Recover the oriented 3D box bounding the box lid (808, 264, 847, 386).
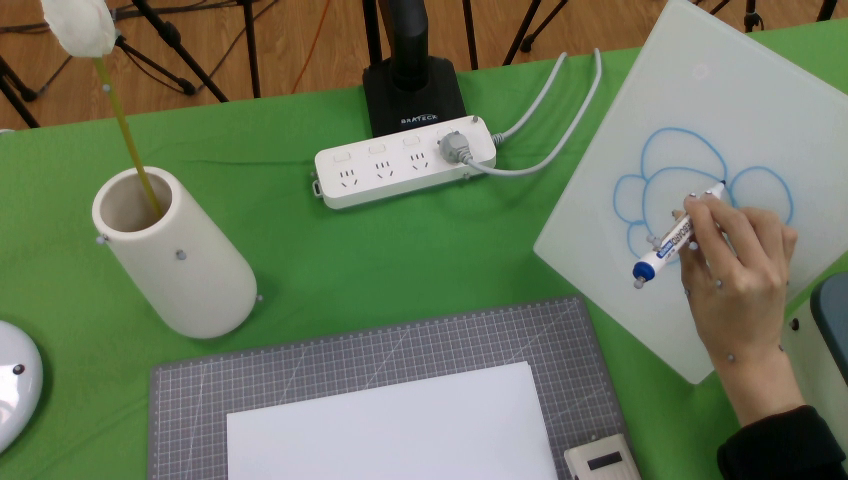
[{"bbox_3d":[0.461,0.163,0.419,0.263,0.015,0.368,-10,63,-6],"label":"box lid"}]

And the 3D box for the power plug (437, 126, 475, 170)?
[{"bbox_3d":[0.035,-0.097,0.688,0.035,0.053,0.072,-5,63,-2],"label":"power plug"}]

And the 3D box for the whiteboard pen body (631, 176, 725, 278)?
[{"bbox_3d":[0.196,-0.015,0.457,0.017,0.017,0.140,40,56,20],"label":"whiteboard pen body"}]

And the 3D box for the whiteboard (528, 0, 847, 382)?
[{"bbox_3d":[0.273,-0.051,0.571,0.144,0.307,0.215,-31,64,-36],"label":"whiteboard"}]

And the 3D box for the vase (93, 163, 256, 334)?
[{"bbox_3d":[-0.225,0.014,0.560,0.098,0.201,0.097,-1,61,1],"label":"vase"}]

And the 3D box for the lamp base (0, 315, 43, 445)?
[{"bbox_3d":[-0.467,0.103,0.522,0.178,0.182,0.160,20,63,14],"label":"lamp base"}]

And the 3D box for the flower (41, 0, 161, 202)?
[{"bbox_3d":[-0.222,-0.042,0.497,0.038,0.365,0.043,-20,45,-18],"label":"flower"}]

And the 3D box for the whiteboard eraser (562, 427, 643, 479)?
[{"bbox_3d":[0.168,0.227,0.534,0.056,0.042,0.111,-14,63,-9],"label":"whiteboard eraser"}]

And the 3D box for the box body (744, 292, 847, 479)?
[{"bbox_3d":[0.462,0.201,0.484,0.254,0.161,0.360,-10,62,-5],"label":"box body"}]

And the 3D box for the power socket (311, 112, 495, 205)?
[{"bbox_3d":[-0.022,-0.097,0.714,0.227,0.033,0.071,-14,64,-8],"label":"power socket"}]
